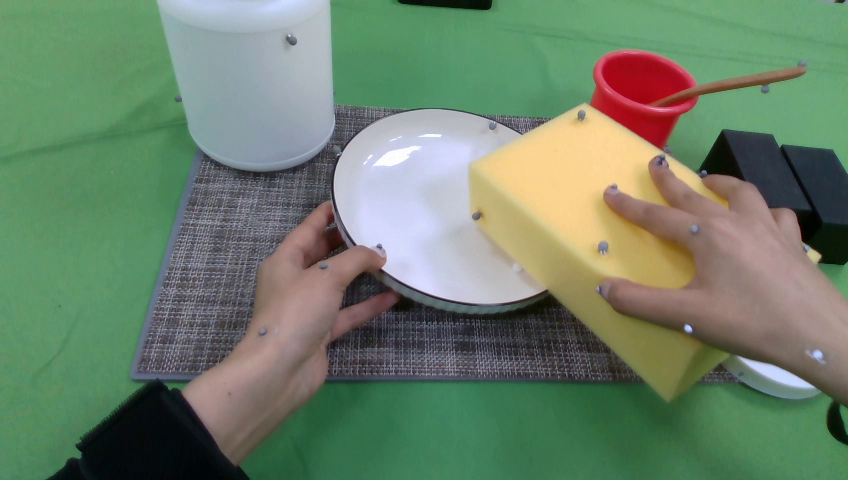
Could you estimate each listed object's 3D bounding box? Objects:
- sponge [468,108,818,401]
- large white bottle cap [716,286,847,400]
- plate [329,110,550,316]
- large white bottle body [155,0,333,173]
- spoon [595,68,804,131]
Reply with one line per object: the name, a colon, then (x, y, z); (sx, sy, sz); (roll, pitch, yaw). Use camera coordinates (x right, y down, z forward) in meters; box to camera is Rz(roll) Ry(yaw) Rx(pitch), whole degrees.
sponge: (0.140, -0.003, 0.432); (0.118, 0.061, 0.204); (-30, 52, -20)
large white bottle cap: (0.268, 0.069, 0.473); (0.115, 0.018, 0.113); (6, 50, -6)
plate: (0.027, -0.023, 0.493); (0.210, 0.038, 0.207); (8, 51, -10)
large white bottle body: (-0.143, -0.163, 0.501); (0.131, 0.186, 0.129); (4, 49, -4)
spoon: (0.234, -0.126, 0.551); (0.041, 0.193, 0.022); (-48, 115, -37)
